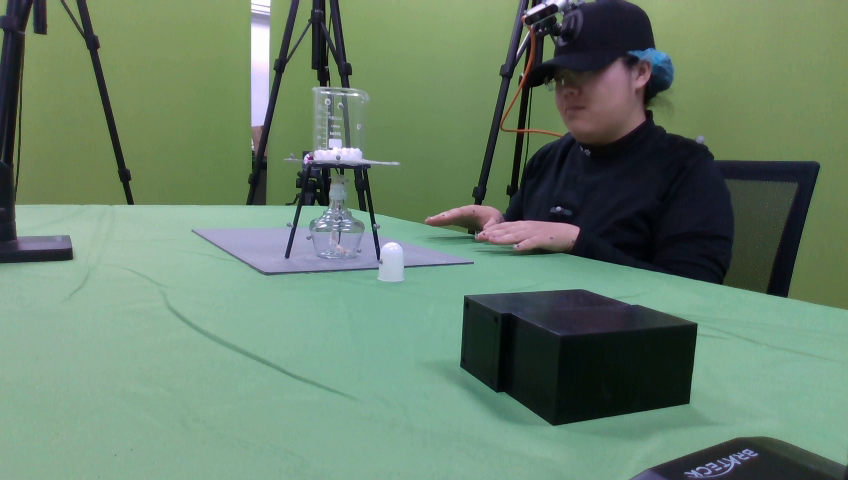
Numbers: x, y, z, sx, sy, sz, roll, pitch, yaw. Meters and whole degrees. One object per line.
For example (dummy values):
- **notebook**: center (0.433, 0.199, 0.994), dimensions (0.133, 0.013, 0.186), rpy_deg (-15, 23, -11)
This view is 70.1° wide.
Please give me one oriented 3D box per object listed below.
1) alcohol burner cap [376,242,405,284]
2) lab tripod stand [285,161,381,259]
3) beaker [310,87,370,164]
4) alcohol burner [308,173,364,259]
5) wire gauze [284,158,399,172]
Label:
- **alcohol burner cap**: center (-0.039, 0.026, 0.710), dimensions (0.034, 0.048, 0.034), rpy_deg (3, 6, 0)
- **lab tripod stand**: center (-0.123, -0.043, 0.842), dimensions (0.148, 0.131, 0.148), rpy_deg (2, 9, 0)
- **beaker**: center (-0.116, -0.156, 0.833), dimensions (0.084, 0.100, 0.073), rpy_deg (-2, 10, -29)
- **alcohol burner**: center (-0.121, -0.033, 0.843), dimensions (0.078, 0.119, 0.078), rpy_deg (3, 5, 0)
- **wire gauze**: center (-0.116, -0.108, 0.835), dimensions (0.126, 0.011, 0.121), rpy_deg (0, 10, -31)
